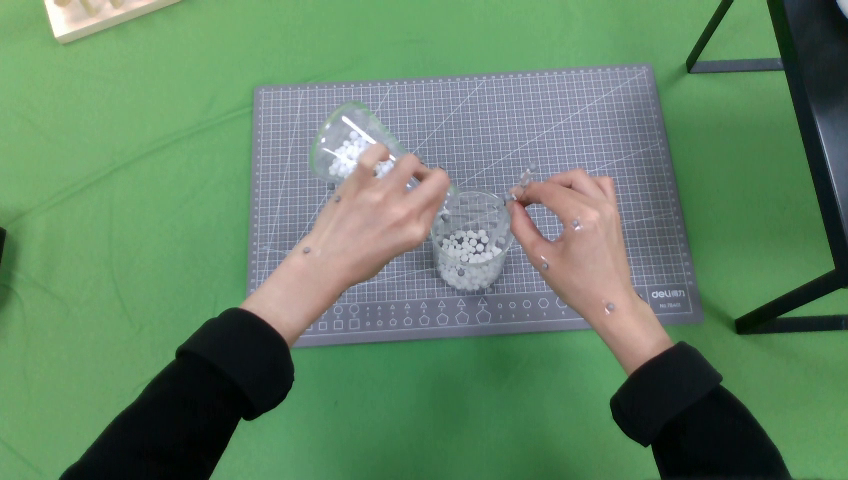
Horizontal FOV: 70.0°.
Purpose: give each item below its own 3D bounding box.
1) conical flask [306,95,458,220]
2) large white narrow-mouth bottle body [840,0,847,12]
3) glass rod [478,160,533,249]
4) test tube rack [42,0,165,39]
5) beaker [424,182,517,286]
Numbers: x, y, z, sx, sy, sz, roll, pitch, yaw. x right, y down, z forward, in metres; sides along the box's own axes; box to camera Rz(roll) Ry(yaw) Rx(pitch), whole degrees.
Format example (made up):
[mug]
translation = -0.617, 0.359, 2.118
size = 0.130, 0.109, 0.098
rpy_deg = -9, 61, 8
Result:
[conical flask]
translation = -0.032, -0.063, 0.512
size = 0.121, 0.075, 0.075
rpy_deg = 31, 75, 8
[large white narrow-mouth bottle body]
translation = 0.378, -0.236, 0.407
size = 0.102, 0.196, 0.101
rpy_deg = -1, 70, 3
[glass rod]
translation = 0.066, -0.024, 0.522
size = 0.008, 0.200, 0.008
rpy_deg = 2, 72, -5
[test tube rack]
translation = -0.334, -0.325, 0.695
size = 0.242, 0.086, 0.066
rpy_deg = -24, 72, -7
[beaker]
translation = 0.041, -0.002, 0.572
size = 0.084, 0.101, 0.073
rpy_deg = 19, 72, 9
